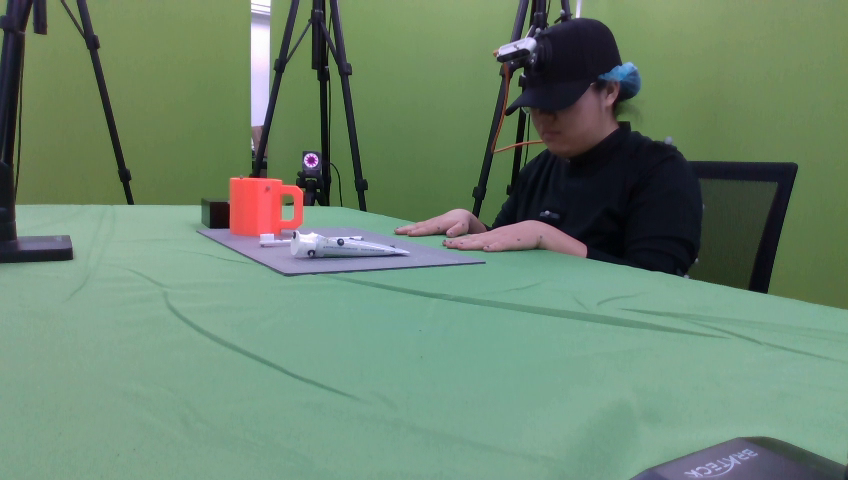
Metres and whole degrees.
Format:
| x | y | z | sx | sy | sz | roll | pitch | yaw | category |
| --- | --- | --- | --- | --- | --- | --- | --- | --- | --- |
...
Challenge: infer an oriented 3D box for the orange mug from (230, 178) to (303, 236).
| x | y | z | sx | sy | sz | roll | pitch | yaw | category |
| --- | --- | --- | --- | --- | --- | --- | --- | --- | --- |
| -0.275 | -0.060 | 1.058 | 0.126 | 0.101 | 0.083 | -2 | 8 | -5 | orange mug |

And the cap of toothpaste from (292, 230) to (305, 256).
| x | y | z | sx | sy | sz | roll | pitch | yaw | category |
| --- | --- | --- | --- | --- | --- | --- | --- | --- | --- |
| -0.169 | 0.005 | 0.812 | 0.011 | 0.037 | 0.037 | 6 | 4 | -30 | cap of toothpaste |

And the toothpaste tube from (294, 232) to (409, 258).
| x | y | z | sx | sy | sz | roll | pitch | yaw | category |
| --- | --- | --- | --- | --- | --- | --- | --- | --- | --- |
| -0.102 | 0.010 | 0.853 | 0.166 | 0.034 | 0.055 | 3 | 10 | -34 | toothpaste tube |

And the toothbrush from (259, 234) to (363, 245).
| x | y | z | sx | sy | sz | roll | pitch | yaw | category |
| --- | --- | --- | --- | --- | --- | --- | --- | --- | --- |
| -0.175 | -0.002 | 0.958 | 0.183 | 0.016 | 0.014 | -1 | -5 | -39 | toothbrush |
